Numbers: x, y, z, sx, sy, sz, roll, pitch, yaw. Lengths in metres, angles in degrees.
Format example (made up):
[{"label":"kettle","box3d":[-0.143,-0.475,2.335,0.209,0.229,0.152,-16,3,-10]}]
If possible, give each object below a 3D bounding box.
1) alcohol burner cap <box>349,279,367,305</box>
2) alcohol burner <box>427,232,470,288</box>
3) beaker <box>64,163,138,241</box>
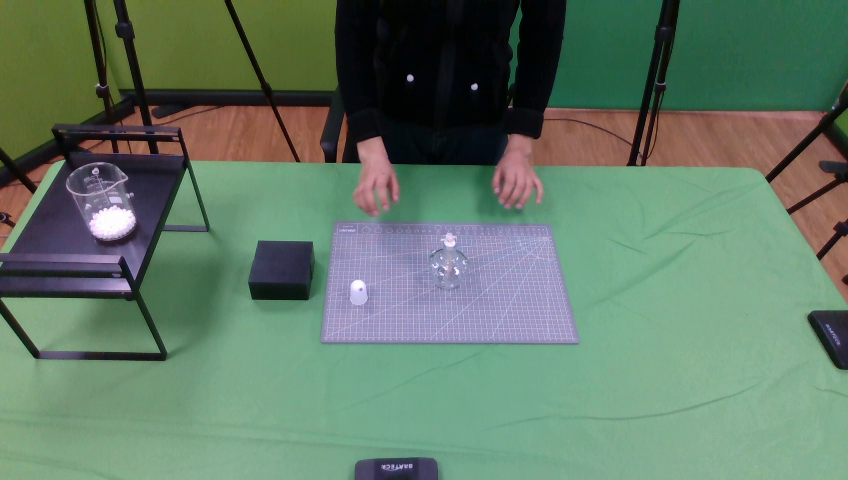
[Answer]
[{"label":"alcohol burner cap","box3d":[-0.118,0.090,1.082,0.034,0.048,0.033,2,47,-1]},{"label":"alcohol burner","box3d":[0.045,0.032,1.099,0.078,0.120,0.077,0,46,0]},{"label":"beaker","box3d":[-0.477,-0.055,0.910,0.084,0.101,0.073,-9,48,-13]}]
